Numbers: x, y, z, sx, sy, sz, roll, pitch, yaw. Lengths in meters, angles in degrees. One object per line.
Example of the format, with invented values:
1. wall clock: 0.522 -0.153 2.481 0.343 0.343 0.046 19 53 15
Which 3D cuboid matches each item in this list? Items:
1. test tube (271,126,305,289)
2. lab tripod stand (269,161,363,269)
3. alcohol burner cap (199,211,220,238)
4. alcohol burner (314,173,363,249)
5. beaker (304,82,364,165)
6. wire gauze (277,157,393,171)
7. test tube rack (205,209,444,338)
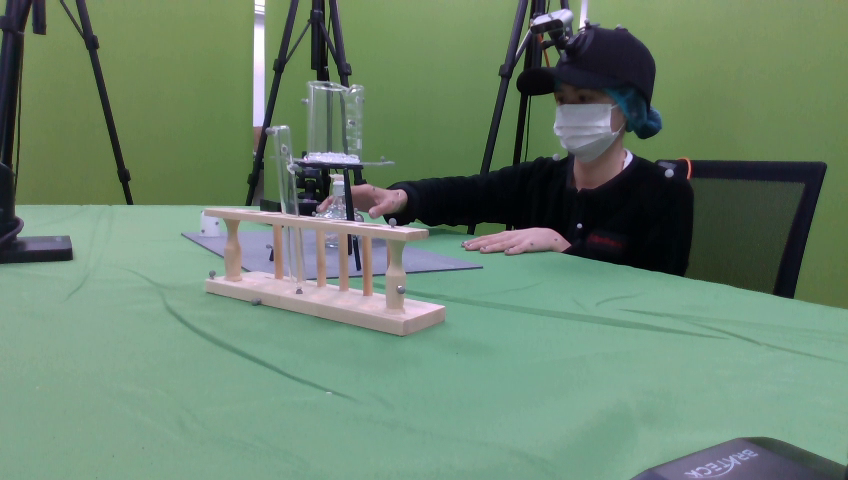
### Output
1. test tube: -0.124 -0.028 0.554 0.017 0.150 0.017 -5 7 1
2. lab tripod stand: -0.125 -0.036 0.794 0.148 0.131 0.148 5 7 0
3. alcohol burner cap: -0.356 -0.027 1.002 0.034 0.048 0.034 2 7 0
4. alcohol burner: -0.134 -0.046 0.953 0.078 0.119 0.078 1 9 0
5. beaker: -0.115 -0.148 0.779 0.074 0.100 0.083 -2 10 -30
6. wire gauze: -0.122 -0.100 0.786 0.122 0.011 0.124 -5 14 -38
7. test tube rack: -0.100 0.021 0.565 0.241 0.085 0.067 7 8 32
